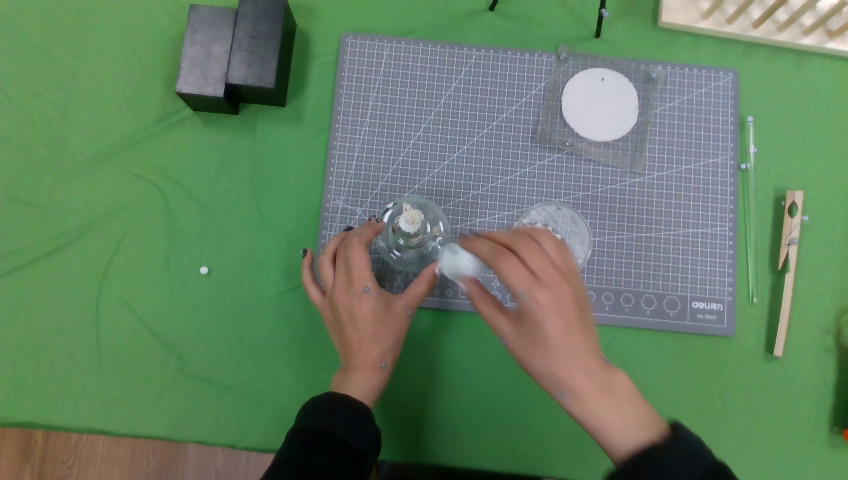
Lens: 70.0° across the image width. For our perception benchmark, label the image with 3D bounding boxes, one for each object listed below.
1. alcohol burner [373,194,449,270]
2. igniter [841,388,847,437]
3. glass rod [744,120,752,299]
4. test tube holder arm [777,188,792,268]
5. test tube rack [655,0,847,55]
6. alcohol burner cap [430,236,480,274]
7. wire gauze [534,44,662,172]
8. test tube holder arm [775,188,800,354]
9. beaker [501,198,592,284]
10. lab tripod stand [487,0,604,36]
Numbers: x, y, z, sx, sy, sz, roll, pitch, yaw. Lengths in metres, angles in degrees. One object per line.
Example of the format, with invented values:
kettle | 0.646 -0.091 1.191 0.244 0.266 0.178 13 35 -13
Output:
alcohol burner | -0.014 -0.011 0.597 0.078 0.119 0.077 0 80 2
igniter | 0.478 0.073 0.638 0.057 0.025 0.275 15 82 -9
glass rod | 0.354 -0.035 0.662 0.008 0.008 0.199 3 84 -1
test tube holder arm | 0.390 -0.012 0.655 0.010 0.015 0.087 3 80 35
test tube rack | 0.389 -0.266 0.658 0.242 0.085 0.066 9 81 1
alcohol burner cap | 0.028 0.011 0.500 0.034 0.048 0.034 2 85 -20
wire gauze | 0.194 -0.150 0.675 0.125 0.011 0.121 17 83 1
test tube holder arm | 0.388 0.032 0.646 0.013 0.015 0.178 3 80 35
beaker | 0.114 0.006 0.604 0.084 0.100 0.073 -2 81 0
lab tripod stand | 0.144 -0.293 0.635 0.148 0.132 0.148 0 83 0
